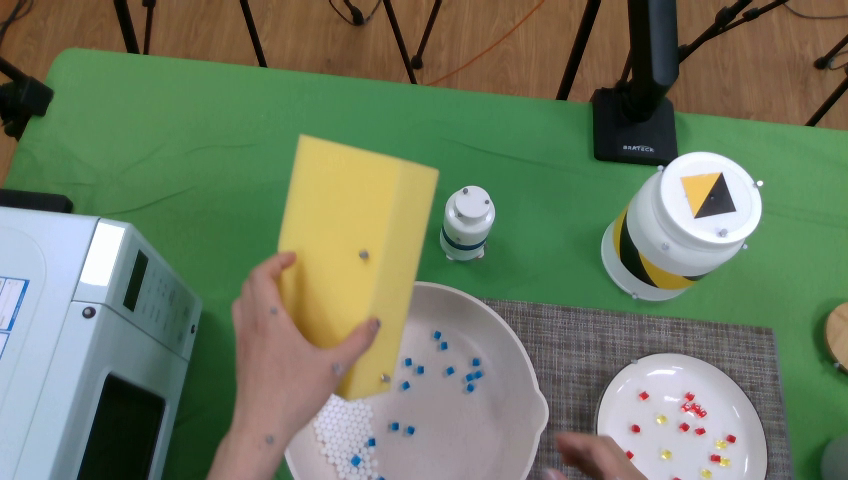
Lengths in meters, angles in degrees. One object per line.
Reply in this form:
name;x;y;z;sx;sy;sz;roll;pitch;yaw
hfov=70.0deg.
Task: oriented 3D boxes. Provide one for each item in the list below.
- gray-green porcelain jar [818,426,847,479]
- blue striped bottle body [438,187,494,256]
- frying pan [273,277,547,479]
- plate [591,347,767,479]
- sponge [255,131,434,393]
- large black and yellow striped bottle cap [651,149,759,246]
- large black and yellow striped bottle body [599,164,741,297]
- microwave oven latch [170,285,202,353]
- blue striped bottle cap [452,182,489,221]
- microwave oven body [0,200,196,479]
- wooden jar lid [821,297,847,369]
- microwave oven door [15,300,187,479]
gray-green porcelain jar;0.530;0.261;0.689;0.106;0.127;0.105;1;68;-3
blue striped bottle body;0.054;-0.028;0.773;0.063;0.121;0.062;1;68;-3
frying pan;-0.023;0.279;0.652;0.307;0.103;0.483;5;60;0
plate;0.300;0.233;0.727;0.209;0.038;0.207;1;68;-3
sponge;-0.074;0.016;0.548;0.117;0.061;0.207;16;98;32
large black and yellow striped bottle cap;0.313;-0.049;0.673;0.115;0.019;0.114;1;67;-3
large black and yellow striped bottle body;0.308;-0.016;0.753;0.131;0.185;0.130;1;67;-3
microwave oven latch;-0.289;0.093;0.726;0.030;0.029;0.078;8;69;-1
blue striped bottle cap;0.056;-0.047;0.725;0.044;0.021;0.044;1;65;-2
microwave oven body;-0.448;0.203;0.567;0.326;0.261;0.438;6;68;-2
wooden jar lid;0.578;0.128;0.802;0.108;0.021;0.107;1;70;-3
microwave oven door;-0.307;0.255;0.550;0.039;0.245;0.353;6;68;-1
